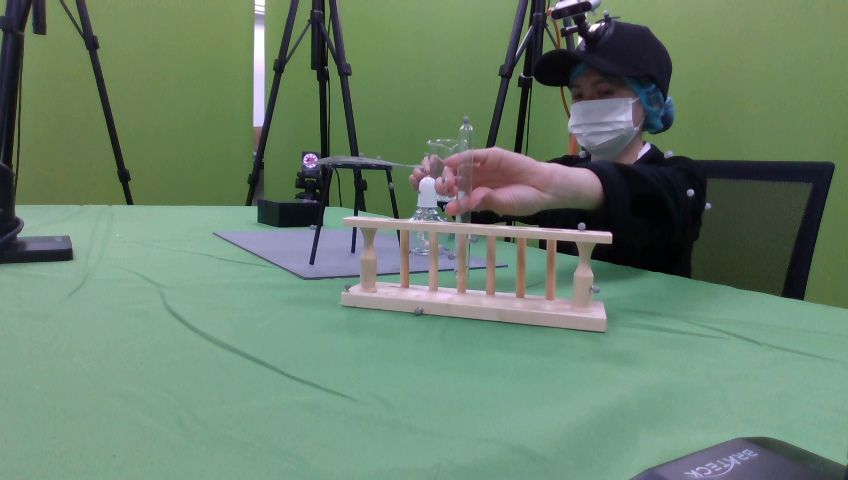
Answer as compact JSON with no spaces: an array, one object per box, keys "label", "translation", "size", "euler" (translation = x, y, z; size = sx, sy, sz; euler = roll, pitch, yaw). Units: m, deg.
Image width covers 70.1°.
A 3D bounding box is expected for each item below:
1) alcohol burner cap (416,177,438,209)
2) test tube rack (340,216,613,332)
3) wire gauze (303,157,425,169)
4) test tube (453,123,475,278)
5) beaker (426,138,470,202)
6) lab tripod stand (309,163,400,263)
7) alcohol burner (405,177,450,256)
[{"label":"alcohol burner cap","translation":[0.005,-0.072,0.914],"size":[0.034,0.048,0.034],"euler":[3,9,0]},{"label":"test tube rack","translation":[0.048,0.026,0.568],"size":[0.242,0.085,0.067],"euler":[4,7,13]},{"label":"wire gauze","translation":[-0.082,-0.102,0.799],"size":[0.126,0.011,0.121],"euler":[-1,7,-30]},{"label":"test tube","translation":[0.039,-0.037,0.584],"size":[0.017,0.150,0.017],"euler":[2,5,0]},{"label":"beaker","translation":[0.042,-0.119,1.029],"size":[0.074,0.100,0.084],"euler":[-3,16,-4]},{"label":"lab tripod stand","translation":[-0.091,-0.037,0.813],"size":[0.148,0.131,0.148],"euler":[1,6,0]},{"label":"alcohol burner","translation":[0.004,-0.036,0.917],"size":[0.078,0.119,0.078],"euler":[4,6,0]}]
